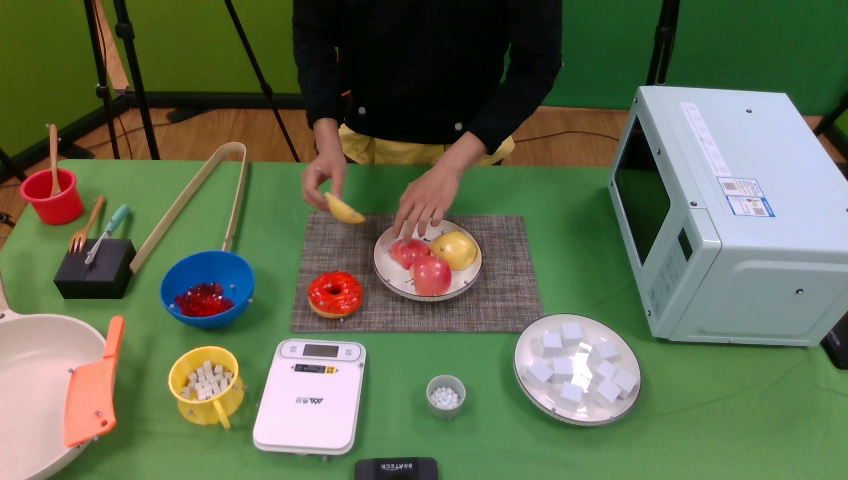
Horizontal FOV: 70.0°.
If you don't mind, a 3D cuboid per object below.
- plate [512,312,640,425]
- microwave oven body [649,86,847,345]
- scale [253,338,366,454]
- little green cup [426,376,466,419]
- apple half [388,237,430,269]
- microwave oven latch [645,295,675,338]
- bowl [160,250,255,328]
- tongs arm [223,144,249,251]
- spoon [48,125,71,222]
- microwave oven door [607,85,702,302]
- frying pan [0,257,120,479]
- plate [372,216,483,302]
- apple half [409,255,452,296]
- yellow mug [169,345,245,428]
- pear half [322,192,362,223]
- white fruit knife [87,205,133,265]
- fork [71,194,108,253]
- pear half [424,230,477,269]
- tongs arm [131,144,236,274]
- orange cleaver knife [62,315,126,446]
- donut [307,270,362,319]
[{"bbox_3d":[0.246,0.213,0.999,0.208,0.039,0.206,2,46,-2],"label":"plate"},{"bbox_3d":[0.567,-0.053,1.118,0.326,0.261,0.439,2,45,-1],"label":"microwave oven body"},{"bbox_3d":[-0.175,0.236,0.951,0.149,0.032,0.199,4,45,-1],"label":"scale"},{"bbox_3d":[0.033,0.248,0.950,0.061,0.039,0.061,2,46,-2],"label":"little green cup"},{"bbox_3d":[-0.026,0.016,1.158,0.081,0.033,0.081,2,46,-2],"label":"apple half"},{"bbox_3d":[0.411,0.134,1.061,0.030,0.029,0.078,3,45,0],"label":"microwave oven latch"},{"bbox_3d":[-0.362,0.098,1.040,0.151,0.077,0.150,2,45,-2],"label":"bowl"},{"bbox_3d":[-0.397,-0.073,1.232,0.051,0.027,0.382,-2,45,0],"label":"tongs arm"},{"bbox_3d":[-0.718,-0.131,1.188,0.041,0.021,0.193,-3,90,-7],"label":"spoon"},{"bbox_3d":[0.423,-0.094,1.140,0.039,0.245,0.353,2,46,-1],"label":"microwave oven door"},{"bbox_3d":[-0.647,0.164,0.936,0.307,0.103,0.485,-19,58,-22],"label":"frying pan"},{"bbox_3d":[0.006,0.038,1.145,0.209,0.038,0.208,2,46,-2],"label":"plate"},{"bbox_3d":[0.014,0.058,1.103,0.075,0.053,0.080,-3,43,-10],"label":"apple half"},{"bbox_3d":[-0.322,0.230,0.922,0.100,0.064,0.130,-24,53,-25],"label":"yellow mug"},{"bbox_3d":[-0.154,-0.052,1.090,0.070,0.088,0.031,20,80,57],"label":"pear half"},{"bbox_3d":[-0.584,-0.013,1.129,0.016,0.027,0.206,-1,32,-4],"label":"white fruit knife"},{"bbox_3d":[-0.634,-0.036,1.158,0.028,0.019,0.206,-8,32,-8],"label":"fork"},{"bbox_3d":[0.044,0.007,1.157,0.109,0.056,0.076,18,45,27],"label":"pear half"},{"bbox_3d":[-0.483,-0.077,1.236,0.028,0.028,0.385,6,45,13],"label":"tongs arm"},{"bbox_3d":[-0.480,0.199,0.887,0.077,0.012,0.210,-9,47,-8],"label":"orange cleaver knife"},{"bbox_3d":[-0.158,0.096,1.073,0.099,0.048,0.098,4,45,-4],"label":"donut"}]
